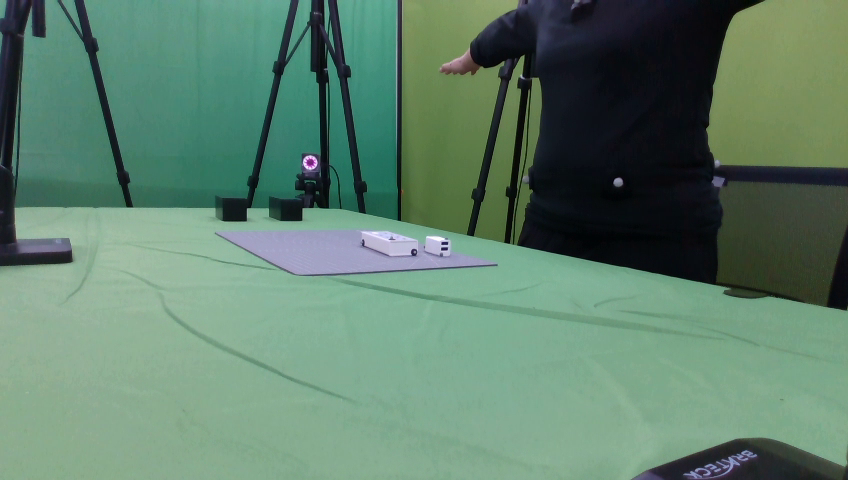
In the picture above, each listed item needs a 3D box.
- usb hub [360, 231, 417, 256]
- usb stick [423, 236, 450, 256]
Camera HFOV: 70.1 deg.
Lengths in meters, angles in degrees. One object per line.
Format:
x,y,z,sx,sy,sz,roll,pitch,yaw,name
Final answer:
-0.059,0.004,0.951,0.050,0.025,0.124,-1,8,-26,usb hub
0.017,0.009,0.937,0.021,0.027,0.059,-1,5,-29,usb stick
